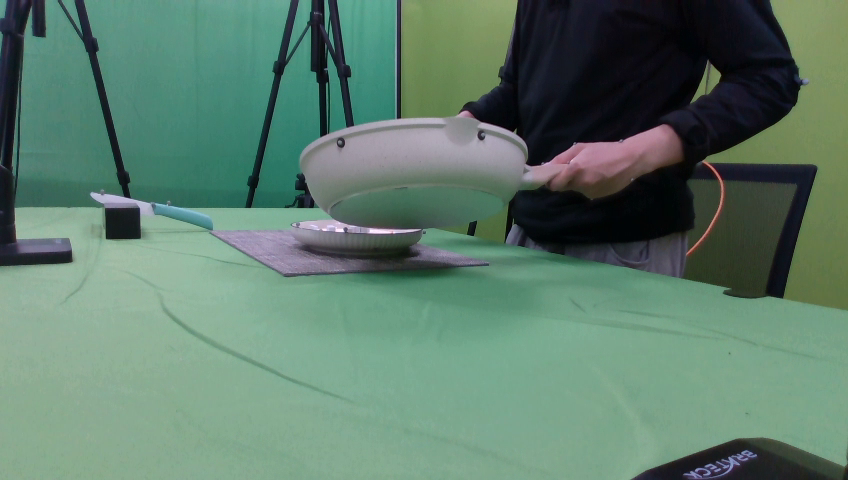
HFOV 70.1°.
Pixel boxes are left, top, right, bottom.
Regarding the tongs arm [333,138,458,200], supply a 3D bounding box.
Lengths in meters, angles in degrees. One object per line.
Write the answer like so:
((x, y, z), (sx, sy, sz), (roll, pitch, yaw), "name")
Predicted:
((-0.036, -0.137, 1.105), (0.050, 0.026, 0.386), (-12, 12, 30), "tongs arm")

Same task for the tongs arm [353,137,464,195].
((-0.013, -0.141, 1.089), (0.028, 0.028, 0.389), (-15, 10, 34), "tongs arm")

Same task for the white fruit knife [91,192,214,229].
((-0.478, -0.055, 1.077), (0.208, 0.027, 0.016), (14, -2, -30), "white fruit knife")

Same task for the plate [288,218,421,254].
((-0.109, -0.007, 0.956), (0.208, 0.039, 0.207), (2, 7, 0), "plate")

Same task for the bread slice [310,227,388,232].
((-0.115, -0.005, 0.950), (0.134, 0.018, 0.107), (3, 6, -7), "bread slice")

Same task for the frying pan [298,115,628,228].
((0.083, -0.087, 0.816), (0.490, 0.102, 0.306), (-8, -8, -23), "frying pan")
